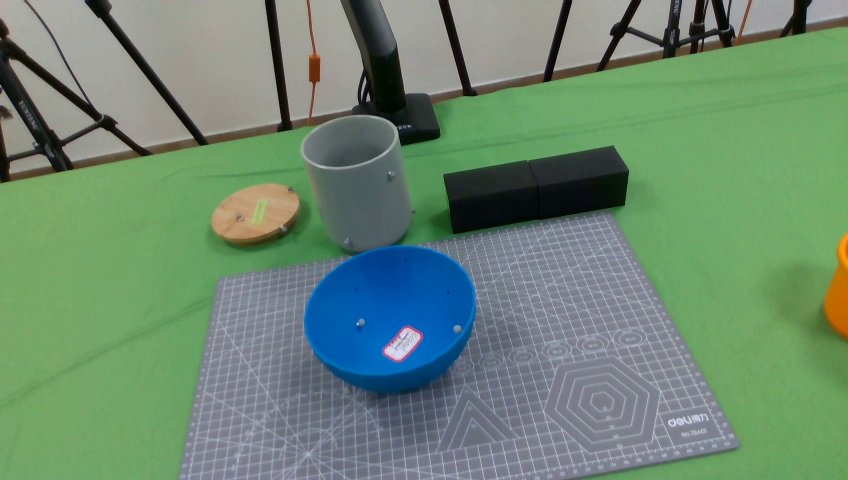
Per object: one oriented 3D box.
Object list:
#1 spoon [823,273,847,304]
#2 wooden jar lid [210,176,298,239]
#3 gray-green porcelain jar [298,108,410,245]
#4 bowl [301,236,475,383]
[{"bbox_3d":[0.419,0.019,0.477,0.022,0.193,0.041,47,55,-7],"label":"spoon"},{"bbox_3d":[-0.209,-0.040,0.751,0.108,0.021,0.107,-4,43,4],"label":"wooden jar lid"},{"bbox_3d":[-0.073,-0.067,0.676,0.106,0.128,0.105,-5,42,5],"label":"gray-green porcelain jar"},{"bbox_3d":[-0.026,0.075,0.545,0.151,0.077,0.150,-5,42,5],"label":"bowl"}]
